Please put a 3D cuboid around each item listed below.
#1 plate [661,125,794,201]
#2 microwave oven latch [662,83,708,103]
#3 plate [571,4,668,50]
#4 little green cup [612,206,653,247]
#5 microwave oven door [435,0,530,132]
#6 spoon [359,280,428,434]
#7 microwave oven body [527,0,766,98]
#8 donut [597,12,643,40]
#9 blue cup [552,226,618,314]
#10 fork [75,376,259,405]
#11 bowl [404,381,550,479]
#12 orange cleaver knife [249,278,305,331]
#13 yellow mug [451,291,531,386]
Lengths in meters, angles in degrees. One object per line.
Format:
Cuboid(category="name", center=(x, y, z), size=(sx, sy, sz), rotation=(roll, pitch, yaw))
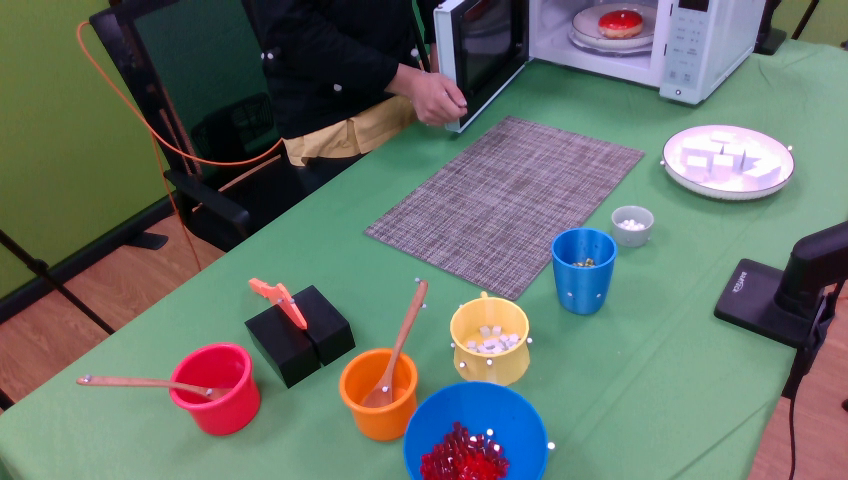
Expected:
Cuboid(category="plate", center=(0.513, -0.128, 1.035), size=(0.207, 0.039, 0.206), rotation=(-4, 40, 4))
Cuboid(category="microwave oven latch", center=(0.518, -0.296, 1.204), size=(0.078, 0.029, 0.030), rotation=(28, 52, 35))
Cuboid(category="plate", center=(0.435, -0.474, 1.358), size=(0.209, 0.038, 0.208), rotation=(-4, 41, 4))
Cuboid(category="little green cup", center=(0.321, -0.019, 0.936), size=(0.061, 0.039, 0.061), rotation=(-4, 41, 4))
Cuboid(category="microwave oven door", center=(0.132, -0.415, 1.246), size=(0.039, 0.245, 0.356), rotation=(17, 46, 26))
Cuboid(category="spoon", center=(-0.032, 0.138, 0.719), size=(0.041, 0.193, 0.022), rotation=(22, 4, 30))
Cuboid(category="microwave oven body", center=(0.472, -0.513, 1.317), size=(0.438, 0.261, 0.327), rotation=(26, 51, 34))
Cuboid(category="donut", center=(0.436, -0.477, 1.346), size=(0.099, 0.048, 0.098), rotation=(-6, 34, 5))
Cuboid(category="blue cup", center=(0.218, 0.047, 0.825), size=(0.092, 0.101, 0.092), rotation=(-6, 40, 5))
Cuboid(category="fork", center=(-0.295, 0.176, 0.716), size=(0.209, 0.018, 0.028), rotation=(19, 28, -36))
Cuboid(category="bowl", center=(0.058, 0.235, 0.645), size=(0.151, 0.077, 0.150), rotation=(-4, 39, 4))
Cuboid(category="orange cleaver knife", center=(-0.210, 0.088, 0.856), size=(0.012, 0.077, 0.210), rotation=(-28, 15, -25))
Cuboid(category="yellow mug", center=(0.085, 0.120, 0.786), size=(0.100, 0.064, 0.130), rotation=(-7, 39, 1))
